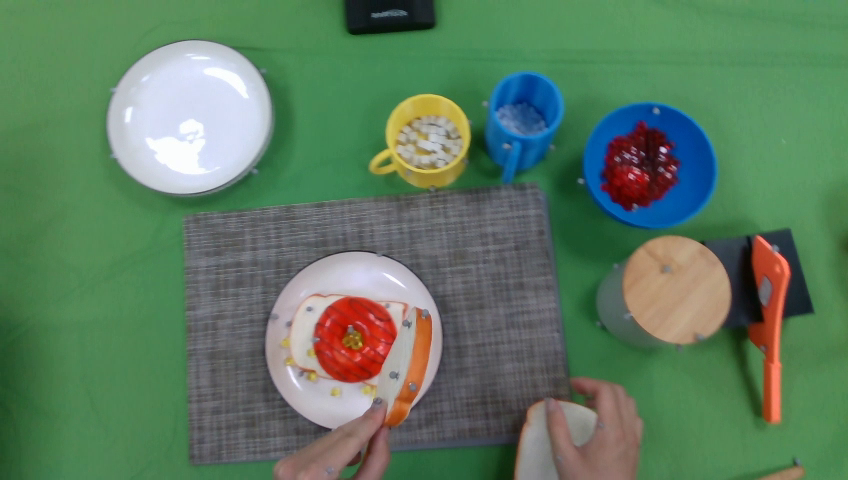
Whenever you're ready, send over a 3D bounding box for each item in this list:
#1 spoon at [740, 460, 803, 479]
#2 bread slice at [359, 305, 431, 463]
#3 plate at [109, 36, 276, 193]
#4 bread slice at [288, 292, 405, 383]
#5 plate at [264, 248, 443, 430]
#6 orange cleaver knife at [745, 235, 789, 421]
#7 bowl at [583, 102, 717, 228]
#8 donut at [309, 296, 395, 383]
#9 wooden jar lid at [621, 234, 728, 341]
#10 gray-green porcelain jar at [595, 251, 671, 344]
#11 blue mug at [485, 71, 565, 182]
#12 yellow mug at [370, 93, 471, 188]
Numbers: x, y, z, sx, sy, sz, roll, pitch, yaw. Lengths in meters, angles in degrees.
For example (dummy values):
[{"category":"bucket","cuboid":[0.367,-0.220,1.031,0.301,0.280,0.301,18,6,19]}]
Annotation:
[{"category":"spoon","cuboid":[0.342,0.282,0.685,0.194,0.022,0.041,-16,61,-2]},{"category":"bread slice","cuboid":[-0.026,0.124,0.556,0.018,0.135,0.106,18,36,-12]},{"category":"plate","cuboid":[-0.289,-0.157,0.772,0.208,0.039,0.206,0,79,1]},{"category":"bread slice","cuboid":[-0.094,0.114,0.715,0.131,0.019,0.104,8,78,-1]},{"category":"plate","cuboid":[-0.081,0.114,0.712,0.209,0.038,0.208,0,79,1]},{"category":"orange cleaver knife","cuboid":[0.386,0.100,0.690,0.012,0.077,0.212,-6,105,0]},{"category":"bowl","cuboid":[0.260,-0.080,0.730,0.151,0.077,0.150,0,79,1]},{"category":"donut","cuboid":[-0.080,0.111,0.684,0.099,0.048,0.098,0,80,-2]},{"category":"wooden jar lid","cuboid":[0.252,0.048,0.616,0.108,0.021,0.108,0,81,-1]},{"category":"gray-green porcelain jar","cuboid":[0.254,0.062,0.677,0.106,0.127,0.105,0,78,1]},{"category":"blue mug","cuboid":[0.114,-0.126,0.727,0.082,0.106,0.116,16,79,4]},{"category":"yellow mug","cuboid":[-0.007,-0.115,0.746,0.131,0.064,0.099,-26,79,-3]}]
